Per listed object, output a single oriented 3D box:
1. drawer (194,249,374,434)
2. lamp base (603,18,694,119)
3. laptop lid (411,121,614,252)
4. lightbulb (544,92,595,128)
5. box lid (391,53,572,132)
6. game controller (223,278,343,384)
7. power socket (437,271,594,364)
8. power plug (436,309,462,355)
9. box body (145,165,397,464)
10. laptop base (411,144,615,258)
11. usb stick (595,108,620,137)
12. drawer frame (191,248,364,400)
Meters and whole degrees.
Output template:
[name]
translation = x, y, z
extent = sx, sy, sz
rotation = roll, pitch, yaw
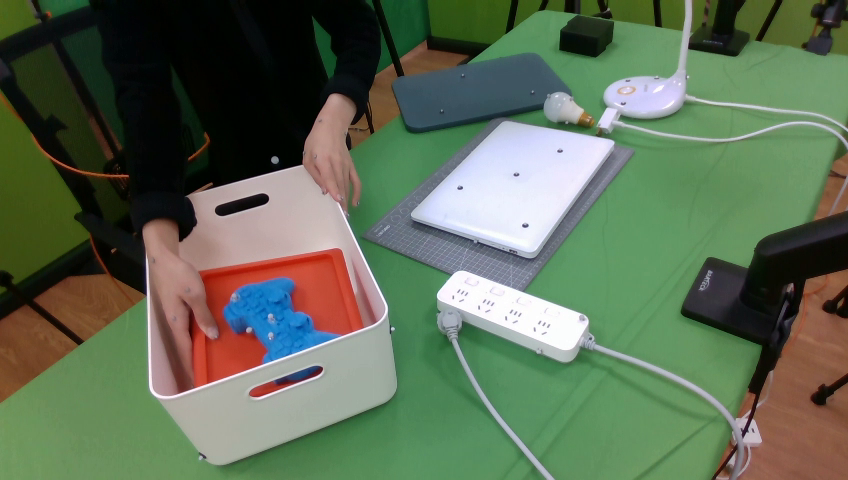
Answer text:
[drawer]
translation = -0.180, 0.119, 0.767
extent = 0.195, 0.073, 0.210
rotation = -9, 45, -16
[lamp base]
translation = 0.460, -0.355, 1.205
extent = 0.179, 0.181, 0.160
rotation = 2, 41, 7
[laptop lid]
translation = 0.164, -0.112, 1.068
extent = 0.240, 0.013, 0.357
rotation = 19, 46, 30
[lightbulb]
translation = 0.293, -0.256, 1.215
extent = 0.107, 0.059, 0.059
rotation = 30, 51, 16
[box lid]
translation = 0.122, -0.339, 1.366
extent = 0.372, 0.015, 0.261
rotation = -12, 40, -5
[game controller]
translation = -0.166, 0.099, 0.711
extent = 0.097, 0.052, 0.154
rotation = -32, 52, -27
[power socket]
translation = 0.118, 0.102, 0.830
extent = 0.225, 0.033, 0.072
rotation = 20, 48, 28
[power plug]
translation = 0.032, 0.126, 0.809
extent = 0.035, 0.053, 0.072
rotation = 3, 59, 7
[box body]
translation = -0.205, 0.080, 0.802
extent = 0.255, 0.161, 0.361
rotation = -18, 41, -13
[laptop base]
translation = 0.167, -0.102, 1.074
extent = 0.234, 0.023, 0.355
rotation = 17, 45, 30
[usb stick]
translation = 0.355, -0.226, 1.175
extent = 0.027, 0.022, 0.059
rotation = 29, 85, 41
[drawer frame]
translation = -0.180, 0.118, 0.764
extent = 0.202, 0.083, 0.212
rotation = -10, 44, -15
